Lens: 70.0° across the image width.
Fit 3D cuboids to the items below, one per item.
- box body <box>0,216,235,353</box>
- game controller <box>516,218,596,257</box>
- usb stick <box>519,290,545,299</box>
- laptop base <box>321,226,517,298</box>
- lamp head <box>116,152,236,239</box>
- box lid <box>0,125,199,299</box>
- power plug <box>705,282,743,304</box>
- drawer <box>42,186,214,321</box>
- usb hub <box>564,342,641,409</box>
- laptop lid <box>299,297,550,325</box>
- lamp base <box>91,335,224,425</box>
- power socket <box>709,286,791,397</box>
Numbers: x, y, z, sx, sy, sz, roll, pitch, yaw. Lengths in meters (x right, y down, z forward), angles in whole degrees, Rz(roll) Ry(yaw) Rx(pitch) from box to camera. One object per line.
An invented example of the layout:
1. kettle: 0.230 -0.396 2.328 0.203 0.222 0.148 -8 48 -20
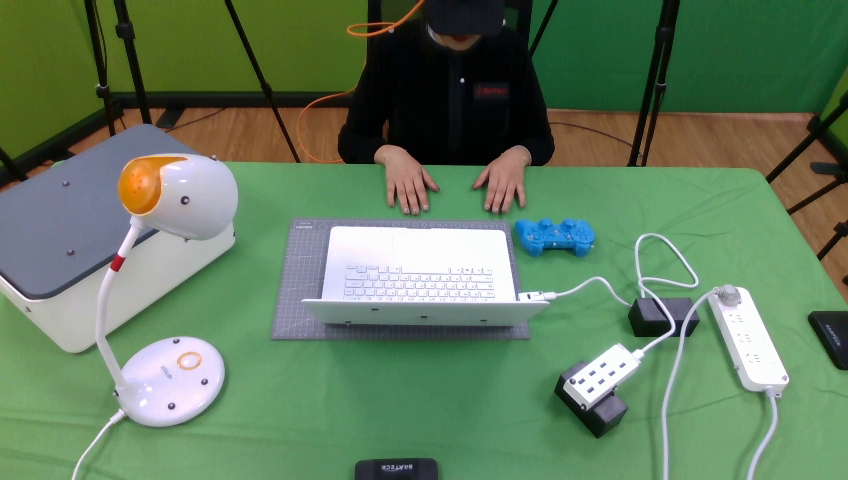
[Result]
1. box body: -0.550 -0.007 1.068 0.253 0.161 0.363 30 51 23
2. game controller: 0.267 -0.015 1.212 0.155 0.052 0.096 0 50 -3
3. usb stick: 0.186 0.108 1.086 0.059 0.027 0.021 -7 47 1
4. laptop base: -0.010 0.062 1.137 0.354 0.023 0.234 1 42 -3
5. lamp head: -0.315 -0.057 0.747 0.112 0.112 0.123 26 10 20
6. box lid: -0.540 -0.068 1.016 0.262 0.015 0.371 30 51 23
7. power plug: 0.539 0.097 1.098 0.072 0.053 0.035 8 47 8
8. drawer: -0.529 0.018 1.097 0.194 0.073 0.211 29 53 20
9. usb hub: 0.278 0.208 0.942 0.125 0.025 0.049 -27 52 -28
10. laptop lid: -0.002 0.114 0.943 0.357 0.242 0.013 1 74 -4
11. lamp base: -0.401 0.170 0.892 0.160 0.181 0.179 30 53 23
12. power socket: 0.568 0.167 1.064 0.072 0.033 0.225 2 46 -1
